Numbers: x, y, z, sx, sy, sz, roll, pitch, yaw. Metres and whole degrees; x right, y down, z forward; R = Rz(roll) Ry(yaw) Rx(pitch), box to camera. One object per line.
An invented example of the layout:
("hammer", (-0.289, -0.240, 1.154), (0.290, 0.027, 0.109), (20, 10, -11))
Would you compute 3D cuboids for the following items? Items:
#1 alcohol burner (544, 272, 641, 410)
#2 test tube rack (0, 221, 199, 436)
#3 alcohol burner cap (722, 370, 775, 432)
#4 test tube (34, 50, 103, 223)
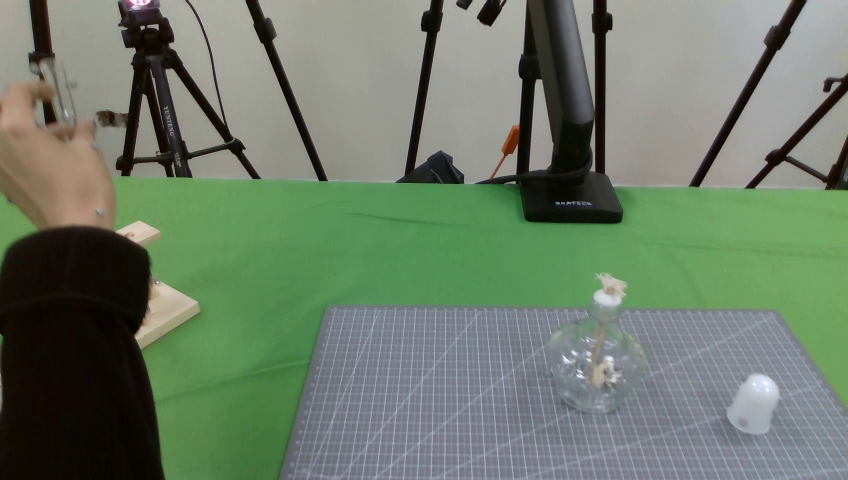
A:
("alcohol burner", (0.137, 0.077, 0.486), (0.078, 0.120, 0.077), (-1, 32, 1))
("test tube rack", (-0.322, 0.079, 0.517), (0.066, 0.086, 0.242), (21, 39, 29))
("alcohol burner cap", (0.258, 0.125, 0.478), (0.034, 0.048, 0.033), (-1, 33, 1))
("test tube", (-0.273, -0.074, 0.470), (0.017, 0.151, 0.017), (6, 40, -4))
